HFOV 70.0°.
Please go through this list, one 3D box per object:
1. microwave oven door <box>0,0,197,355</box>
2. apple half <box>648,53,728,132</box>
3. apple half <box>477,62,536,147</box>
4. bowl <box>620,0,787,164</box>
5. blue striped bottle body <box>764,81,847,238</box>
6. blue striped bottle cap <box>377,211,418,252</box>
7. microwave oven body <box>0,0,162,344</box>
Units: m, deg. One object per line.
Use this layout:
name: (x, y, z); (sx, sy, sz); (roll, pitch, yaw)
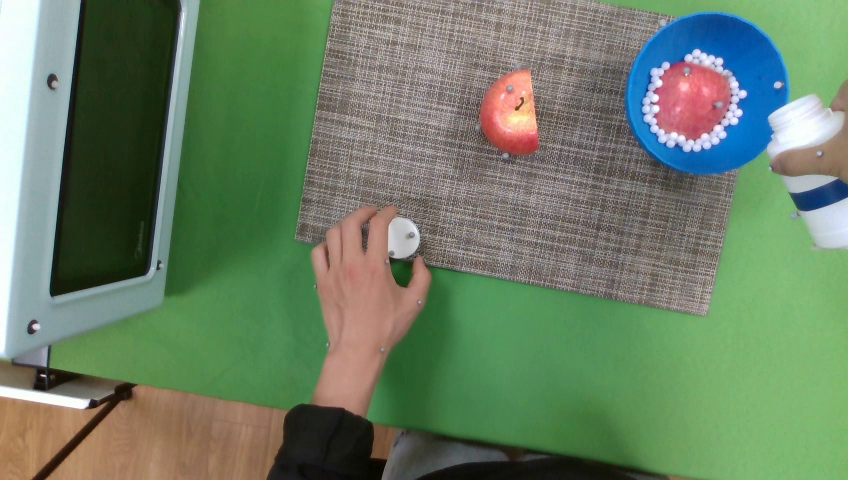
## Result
microwave oven door: (-0.269, -0.103, 0.513); (0.039, 0.243, 0.356); (8, 94, 1)
apple half: (0.261, -0.145, 0.591); (0.081, 0.033, 0.081); (0, 93, 1)
apple half: (0.080, -0.131, 0.603); (0.053, 0.074, 0.081); (-9, 98, 6)
bowl: (0.260, -0.147, 0.596); (0.151, 0.077, 0.151); (0, 94, 2)
blue striped bottle body: (0.326, -0.067, 0.496); (0.063, 0.063, 0.121); (-31, 97, 3)
blue striped bottle cap: (-0.028, -0.009, 0.643); (0.044, 0.020, 0.044); (0, 94, -2)
microwave oven body: (-0.408, -0.166, 0.515); (0.326, 0.260, 0.442); (8, 95, 0)
